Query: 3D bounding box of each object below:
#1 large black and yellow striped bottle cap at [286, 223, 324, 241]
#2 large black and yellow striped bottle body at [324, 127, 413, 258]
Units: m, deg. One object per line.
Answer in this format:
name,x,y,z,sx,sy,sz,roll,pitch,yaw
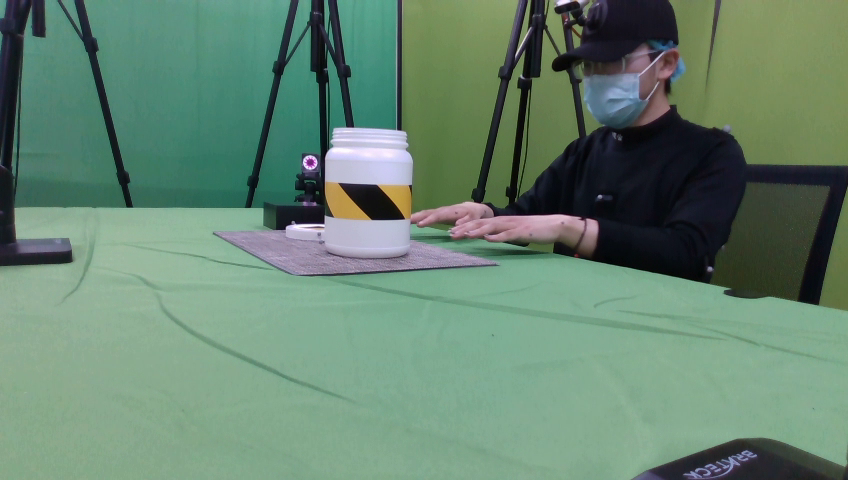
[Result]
large black and yellow striped bottle cap,-0.187,-0.015,1.077,0.115,0.019,0.115,2,9,0
large black and yellow striped bottle body,-0.083,-0.073,0.899,0.131,0.184,0.130,2,7,0
